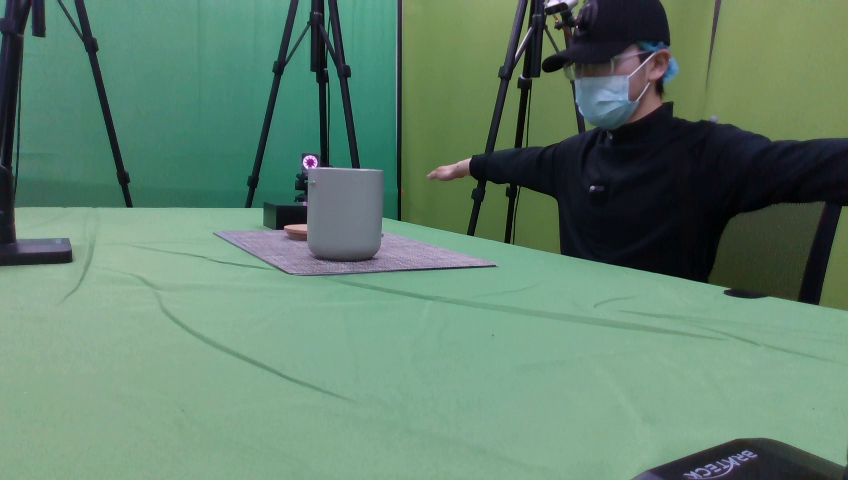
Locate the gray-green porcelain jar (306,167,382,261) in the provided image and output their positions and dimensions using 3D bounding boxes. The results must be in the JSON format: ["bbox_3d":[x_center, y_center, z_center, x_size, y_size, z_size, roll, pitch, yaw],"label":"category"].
[{"bbox_3d":[-0.112,-0.039,0.850,0.106,0.126,0.106,2,7,0],"label":"gray-green porcelain jar"}]

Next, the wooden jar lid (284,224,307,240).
[{"bbox_3d":[-0.190,-0.014,1.057,0.108,0.020,0.108,2,6,0],"label":"wooden jar lid"}]
